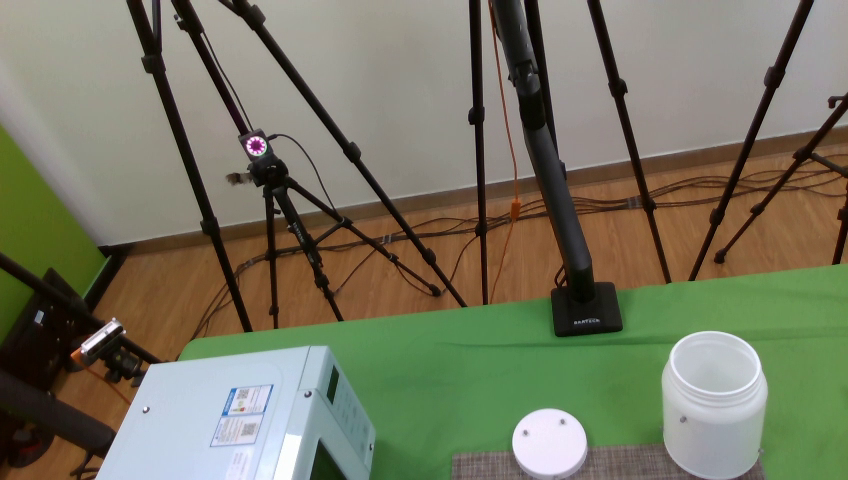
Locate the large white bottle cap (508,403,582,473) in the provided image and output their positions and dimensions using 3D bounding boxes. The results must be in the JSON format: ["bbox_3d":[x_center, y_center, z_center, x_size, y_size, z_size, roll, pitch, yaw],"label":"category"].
[{"bbox_3d":[0.189,0.308,0.949,0.115,0.018,0.113,-11,40,9],"label":"large white bottle cap"}]

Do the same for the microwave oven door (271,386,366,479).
[{"bbox_3d":[-0.149,0.403,0.777,0.039,0.246,0.352,-9,41,12],"label":"microwave oven door"}]

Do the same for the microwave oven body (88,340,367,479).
[{"bbox_3d":[-0.286,0.401,0.842,0.325,0.263,0.437,-8,42,12],"label":"microwave oven body"}]

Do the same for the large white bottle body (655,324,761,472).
[{"bbox_3d":[0.390,0.217,0.840,0.130,0.186,0.129,-11,37,9],"label":"large white bottle body"}]

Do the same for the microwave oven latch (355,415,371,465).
[{"bbox_3d":[-0.106,0.330,1.002,0.030,0.030,0.078,-8,42,12],"label":"microwave oven latch"}]
